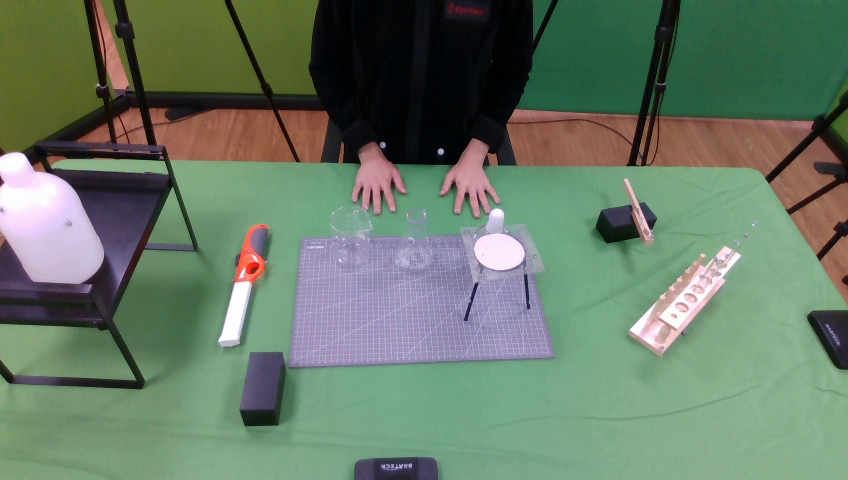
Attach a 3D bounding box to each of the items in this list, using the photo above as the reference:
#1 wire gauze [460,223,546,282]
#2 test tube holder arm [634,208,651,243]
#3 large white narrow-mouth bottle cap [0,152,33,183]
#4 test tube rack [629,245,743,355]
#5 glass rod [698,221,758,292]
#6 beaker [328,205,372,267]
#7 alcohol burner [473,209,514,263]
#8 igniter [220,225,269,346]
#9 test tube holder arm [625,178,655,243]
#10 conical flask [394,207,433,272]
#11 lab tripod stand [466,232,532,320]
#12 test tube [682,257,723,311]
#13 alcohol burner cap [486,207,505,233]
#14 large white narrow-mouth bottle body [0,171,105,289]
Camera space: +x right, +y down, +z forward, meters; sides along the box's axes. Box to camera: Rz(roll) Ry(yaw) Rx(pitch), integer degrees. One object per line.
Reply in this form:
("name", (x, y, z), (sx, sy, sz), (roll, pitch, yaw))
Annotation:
("wire gauze", (0.131, 0.016, 1.015), (0.121, 0.011, 0.124), (-5, 45, -8))
("test tube holder arm", (0.428, -0.030, 1.189), (0.010, 0.015, 0.087), (1, 47, -2))
("large white narrow-mouth bottle cap", (-0.510, -0.090, 0.753), (0.038, 0.024, 0.037), (2, 46, -2))
("test tube rack", (0.474, 0.095, 1.091), (0.242, 0.085, 0.066), (-34, 56, -31))
("glass rod", (0.527, 0.035, 1.059), (0.008, 0.200, 0.008), (5, 49, -6))
("beaker", (-0.135, -0.004, 1.132), (0.084, 0.101, 0.073), (18, 48, 12))
("alcohol burner", (0.134, -0.013, 1.150), (0.078, 0.120, 0.077), (0, 47, 0))
("igniter", (-0.323, 0.072, 1.100), (0.057, 0.025, 0.275), (-6, 46, 5))
("test tube holder arm", (0.433, -0.062, 1.220), (0.013, 0.015, 0.177), (1, 47, -3))
("conical flask", (-0.017, -0.005, 1.125), (0.075, 0.122, 0.075), (2, 46, -2))
("lab tripod stand", (0.125, 0.059, 1.065), (0.148, 0.132, 0.147), (1, 45, 0))
("test tube", (0.475, 0.080, 1.037), (0.017, 0.151, 0.017), (1, 50, -1))
("alcohol burner cap", (0.135, -0.039, 1.125), (0.034, 0.048, 0.033), (4, 41, -4))
("large white narrow-mouth bottle body", (-0.513, -0.029, 0.818), (0.102, 0.195, 0.101), (2, 46, -2))
